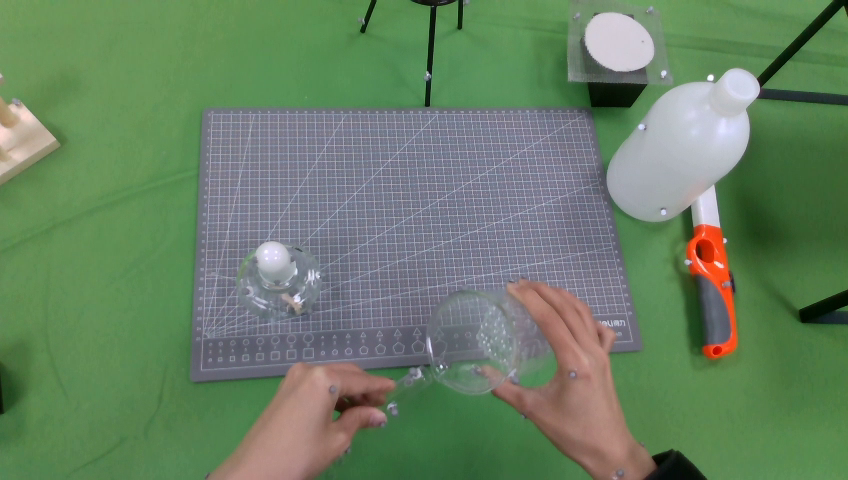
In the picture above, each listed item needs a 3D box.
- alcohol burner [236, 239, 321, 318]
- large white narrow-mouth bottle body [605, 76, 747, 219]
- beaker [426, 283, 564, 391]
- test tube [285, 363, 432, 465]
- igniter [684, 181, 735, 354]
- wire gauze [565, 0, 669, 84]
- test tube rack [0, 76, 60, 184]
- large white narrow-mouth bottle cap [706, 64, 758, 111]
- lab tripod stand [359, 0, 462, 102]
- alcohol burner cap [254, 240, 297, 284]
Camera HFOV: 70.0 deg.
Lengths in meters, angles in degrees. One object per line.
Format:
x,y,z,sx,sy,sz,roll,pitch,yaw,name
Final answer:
-0.134,0.030,0.554,0.078,0.119,0.077,4,66,-8,alcohol burner
0.265,-0.102,0.620,0.102,0.195,0.101,2,68,-6,large white narrow-mouth bottle body
0.057,0.072,0.471,0.101,0.084,0.073,-1,48,-55,beaker
-0.055,0.141,0.481,0.150,0.017,0.017,-36,73,17,test tube
0.314,-0.007,0.680,0.057,0.025,0.274,11,67,-17,igniter
0.225,-0.237,0.716,0.122,0.011,0.124,5,68,-6,wire gauze
-0.482,-0.060,0.559,0.066,0.085,0.242,44,69,10,test tube rack
0.274,-0.136,0.541,0.038,0.024,0.037,3,68,-6,large white narrow-mouth bottle cap
-0.002,-0.251,0.676,0.149,0.132,0.147,3,69,-8,lab tripod stand
-0.129,0.017,0.520,0.034,0.048,0.033,1,74,-4,alcohol burner cap
